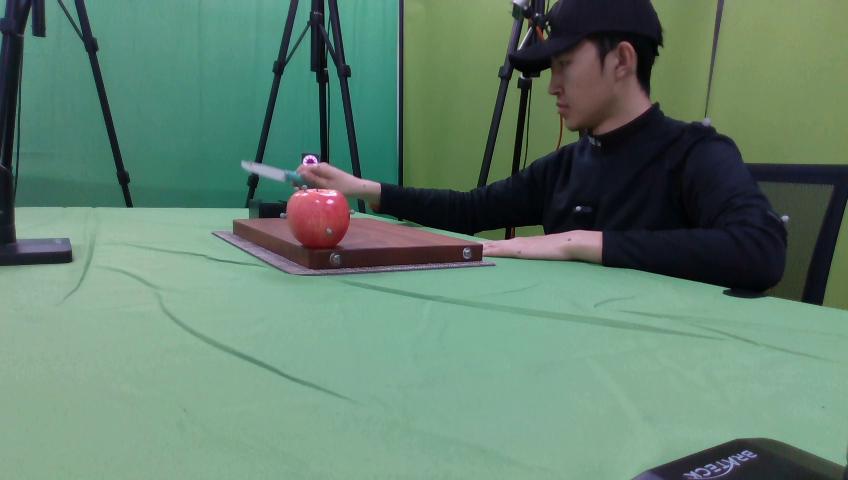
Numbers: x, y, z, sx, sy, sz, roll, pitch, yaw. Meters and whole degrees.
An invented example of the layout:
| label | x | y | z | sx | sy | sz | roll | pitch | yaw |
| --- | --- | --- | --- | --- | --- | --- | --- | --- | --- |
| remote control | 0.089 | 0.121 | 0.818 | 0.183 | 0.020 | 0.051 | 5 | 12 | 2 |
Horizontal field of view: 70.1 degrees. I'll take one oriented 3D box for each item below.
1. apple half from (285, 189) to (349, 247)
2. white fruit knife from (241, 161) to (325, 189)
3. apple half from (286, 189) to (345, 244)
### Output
| label | x | y | z | sx | sy | sz | roll | pitch | yaw |
| --- | --- | --- | --- | --- | --- | --- | --- | --- | --- |
| apple half | -0.132 | -0.026 | 0.765 | 0.081 | 0.074 | 0.053 | 2 | 10 | -22 |
| white fruit knife | -0.292 | -0.138 | 1.277 | 0.209 | 0.027 | 0.016 | 13 | 21 | -45 |
| apple half | -0.146 | -0.033 | 0.801 | 0.081 | 0.081 | 0.032 | -1 | 11 | -23 |
